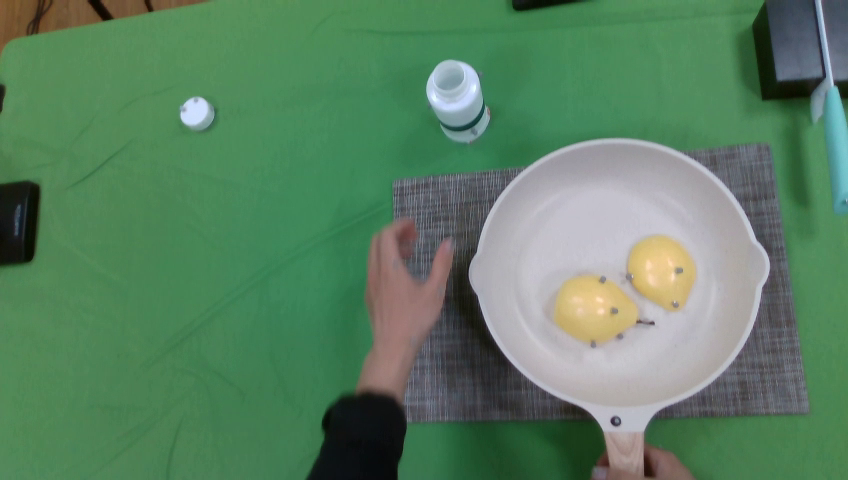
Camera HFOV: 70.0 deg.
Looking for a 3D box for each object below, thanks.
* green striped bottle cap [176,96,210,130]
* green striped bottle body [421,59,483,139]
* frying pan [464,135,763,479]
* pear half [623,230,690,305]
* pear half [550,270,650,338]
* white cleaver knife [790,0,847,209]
[{"bbox_3d":[-0.325,-0.179,0.852,0.044,0.020,0.044,-2,78,12],"label":"green striped bottle cap"},{"bbox_3d":[0.034,-0.171,0.726,0.063,0.120,0.063,-2,78,11],"label":"green striped bottle body"},{"bbox_3d":[0.197,0.129,0.638,0.306,0.103,0.484,-2,70,12],"label":"frying pan"},{"bbox_3d":[0.263,0.029,0.680,0.070,0.031,0.087,-20,72,12],"label":"pear half"},{"bbox_3d":[0.198,0.073,0.673,0.109,0.056,0.076,9,86,10],"label":"pear half"},{"bbox_3d":[0.437,-0.172,0.672,0.021,0.066,0.285,-3,76,17],"label":"white cleaver knife"}]
